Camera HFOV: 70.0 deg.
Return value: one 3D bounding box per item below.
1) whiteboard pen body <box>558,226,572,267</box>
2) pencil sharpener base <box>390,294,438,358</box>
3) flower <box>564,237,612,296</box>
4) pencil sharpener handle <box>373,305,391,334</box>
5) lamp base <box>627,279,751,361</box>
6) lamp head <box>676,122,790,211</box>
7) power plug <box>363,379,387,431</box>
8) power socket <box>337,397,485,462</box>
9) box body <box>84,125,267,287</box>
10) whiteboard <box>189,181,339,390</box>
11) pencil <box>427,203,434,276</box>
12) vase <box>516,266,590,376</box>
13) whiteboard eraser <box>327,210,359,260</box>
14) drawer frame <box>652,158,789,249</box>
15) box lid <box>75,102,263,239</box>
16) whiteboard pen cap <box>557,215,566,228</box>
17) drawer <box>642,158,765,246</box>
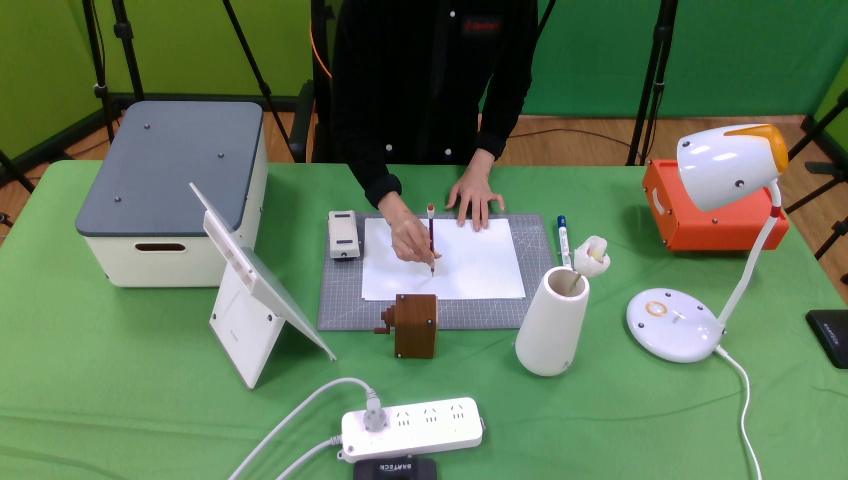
[{"bbox_3d":[0.280,0.010,1.208,0.017,0.017,0.140,3,50,-1],"label":"whiteboard pen body"},{"bbox_3d":[-0.018,0.143,1.000,0.077,0.107,0.061,1,46,-2],"label":"pencil sharpener base"},{"bbox_3d":[0.206,0.088,0.893,0.038,0.363,0.044,-17,67,-9],"label":"flower"},{"bbox_3d":[-0.068,0.133,0.989,0.030,0.068,0.036,1,47,-2],"label":"pencil sharpener handle"},{"bbox_3d":[0.459,0.100,1.027,0.178,0.181,0.160,27,51,17],"label":"lamp base"},{"bbox_3d":[0.423,-0.104,0.819,0.122,0.113,0.112,-13,33,40],"label":"lamp head"},{"bbox_3d":[-0.072,0.252,0.910,0.035,0.053,0.072,3,45,-1],"label":"power plug"},{"bbox_3d":[-0.018,0.285,0.915,0.227,0.033,0.071,-5,46,-8],"label":"power socket"},{"bbox_3d":[-0.446,-0.088,1.150,0.254,0.161,0.361,-1,46,-5],"label":"box body"},{"bbox_3d":[-0.292,0.096,0.929,0.144,0.307,0.216,-37,57,-10],"label":"whiteboard"},{"bbox_3d":[0.012,0.004,1.068,0.012,0.195,0.012,-1,49,1],"label":"pencil"},{"bbox_3d":[0.208,0.132,0.964,0.098,0.201,0.097,3,46,-3],"label":"vase"},{"bbox_3d":[-0.158,-0.009,1.177,0.055,0.042,0.112,-6,47,-7],"label":"whiteboard eraser"},{"bbox_3d":[0.571,-0.075,1.214,0.214,0.083,0.200,0,45,-1],"label":"drawer frame"},{"bbox_3d":[-0.443,-0.138,1.094,0.263,0.015,0.369,-1,47,-5],"label":"box lid"},{"bbox_3d":[0.284,-0.035,1.246,0.018,0.018,0.033,4,52,-1],"label":"whiteboard pen cap"},{"bbox_3d":[0.566,-0.076,1.211,0.212,0.073,0.193,2,45,-2],"label":"drawer"}]
